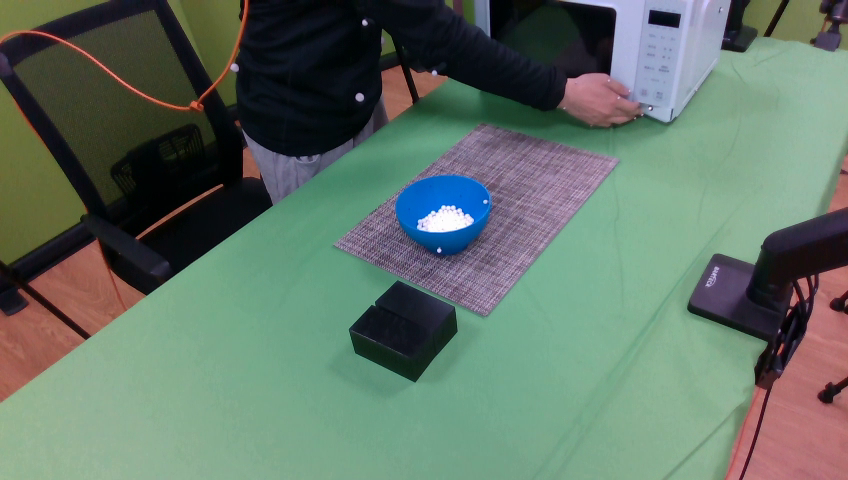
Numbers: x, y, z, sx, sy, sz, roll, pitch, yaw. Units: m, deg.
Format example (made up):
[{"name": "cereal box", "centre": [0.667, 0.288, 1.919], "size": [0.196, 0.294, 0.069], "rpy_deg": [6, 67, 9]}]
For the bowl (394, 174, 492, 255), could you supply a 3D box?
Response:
[{"name": "bowl", "centre": [0.032, -0.030, 0.950], "size": [0.151, 0.077, 0.150], "rpy_deg": [-4, 40, 4]}]

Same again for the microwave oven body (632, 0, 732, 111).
[{"name": "microwave oven body", "centre": [0.377, -0.463, 1.267], "size": [0.438, 0.261, 0.327], "rpy_deg": [21, 49, 30]}]

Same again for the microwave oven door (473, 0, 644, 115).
[{"name": "microwave oven door", "centre": [0.257, -0.396, 1.199], "size": [0.353, 0.245, 0.039], "rpy_deg": [21, 48, 29]}]

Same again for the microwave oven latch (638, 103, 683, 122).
[{"name": "microwave oven latch", "centre": [0.451, -0.252, 1.159], "size": [0.030, 0.029, 0.078], "rpy_deg": [-32, 46, -24]}]
